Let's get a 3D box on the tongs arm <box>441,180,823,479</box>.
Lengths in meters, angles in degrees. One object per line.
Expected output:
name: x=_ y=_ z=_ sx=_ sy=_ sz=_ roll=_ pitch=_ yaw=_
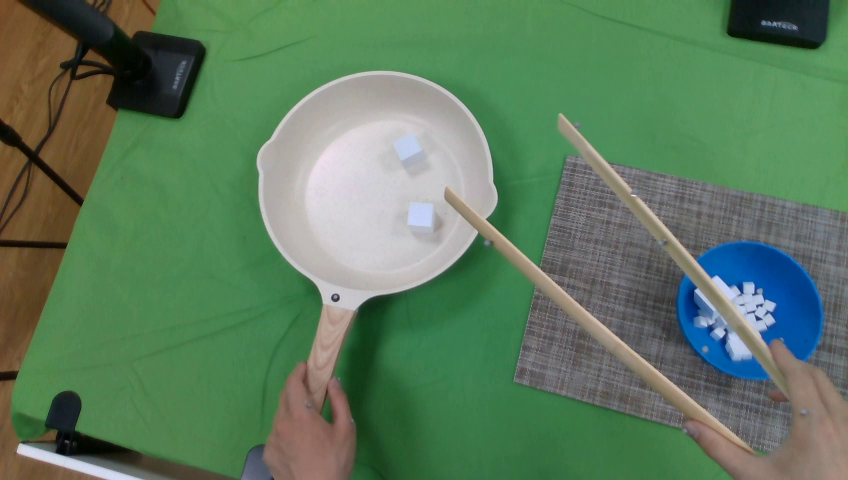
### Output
tongs arm: x=0.151 y=0.066 z=0.520 sx=0.028 sy=0.028 sz=0.384 roll=-39 pitch=66 yaw=-20

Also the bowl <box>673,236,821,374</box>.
bowl: x=0.351 y=0.077 z=0.686 sx=0.151 sy=0.077 sz=0.150 roll=-1 pitch=76 yaw=5

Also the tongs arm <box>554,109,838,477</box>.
tongs arm: x=0.214 y=0.025 z=0.536 sx=0.051 sy=0.027 sz=0.381 roll=-29 pitch=64 yaw=-12

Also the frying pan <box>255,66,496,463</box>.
frying pan: x=-0.088 y=0.019 z=0.734 sx=0.306 sy=0.103 sz=0.485 roll=13 pitch=70 yaw=10
